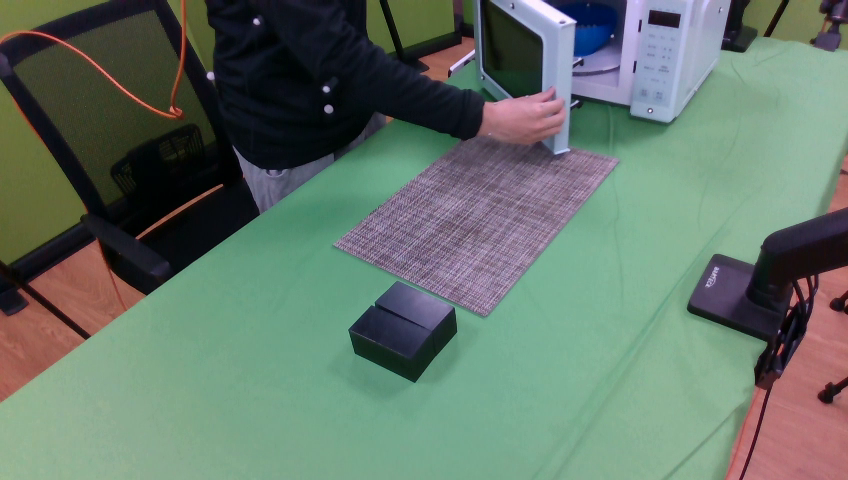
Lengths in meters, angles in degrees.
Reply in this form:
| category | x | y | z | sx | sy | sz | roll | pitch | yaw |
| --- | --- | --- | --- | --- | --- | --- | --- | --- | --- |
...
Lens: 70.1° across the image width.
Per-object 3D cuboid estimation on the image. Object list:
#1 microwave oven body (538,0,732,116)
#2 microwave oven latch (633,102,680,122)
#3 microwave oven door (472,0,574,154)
| category | x | y | z | sx | sy | sz | roll | pitch | yaw |
| --- | --- | --- | --- | --- | --- | --- | --- | --- | --- |
| microwave oven body | 0.377 | -0.462 | 1.267 | 0.438 | 0.261 | 0.327 | 21 | 49 | 30 |
| microwave oven latch | 0.444 | -0.249 | 1.157 | 0.078 | 0.029 | 0.030 | 22 | 49 | 31 |
| microwave oven door | 0.181 | -0.352 | 1.159 | 0.039 | 0.245 | 0.353 | -19 | 42 | -13 |
